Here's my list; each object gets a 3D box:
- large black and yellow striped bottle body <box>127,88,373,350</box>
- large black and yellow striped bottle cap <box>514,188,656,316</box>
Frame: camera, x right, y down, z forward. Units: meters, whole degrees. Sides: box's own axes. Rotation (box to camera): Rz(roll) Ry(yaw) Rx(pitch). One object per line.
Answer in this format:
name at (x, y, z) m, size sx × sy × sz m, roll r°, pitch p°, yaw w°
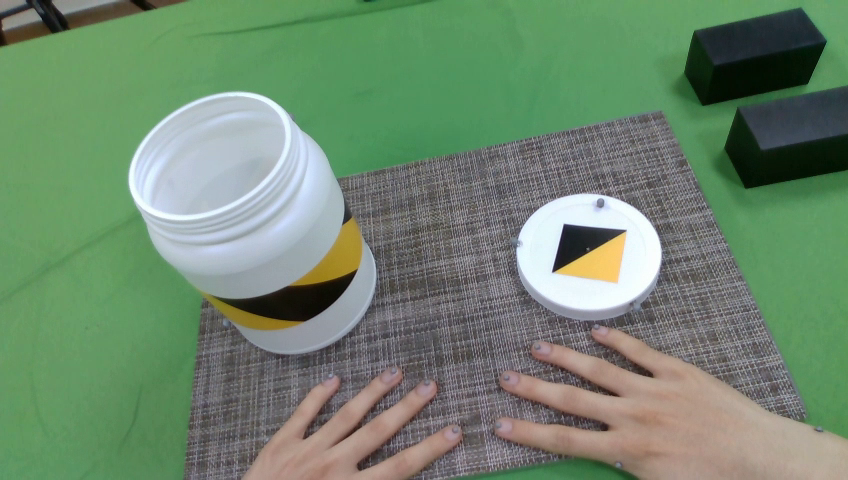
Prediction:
large black and yellow striped bottle body at (-0.121, -0.009, 0.457) m, size 0.130 × 0.186 × 0.129 m, roll -5°, pitch 57°, yaw 8°
large black and yellow striped bottle cap at (0.131, 0.007, 0.499) m, size 0.115 × 0.019 × 0.114 m, roll -5°, pitch 58°, yaw 8°
